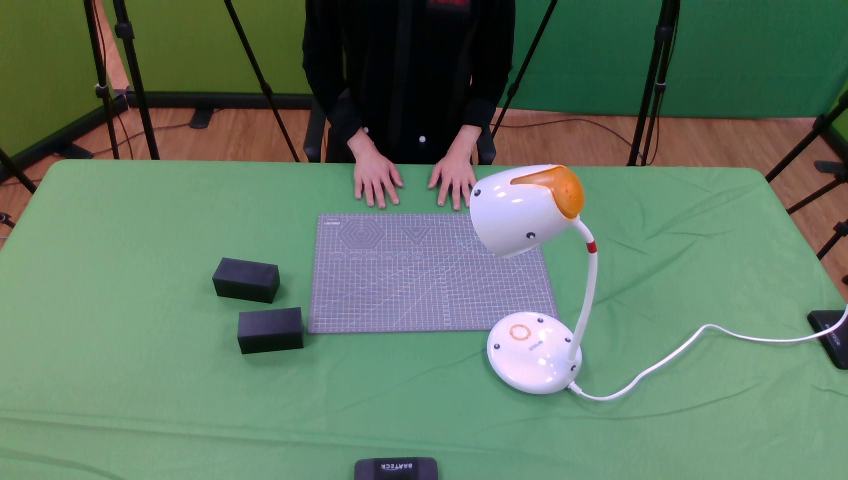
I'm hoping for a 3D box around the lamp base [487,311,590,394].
[{"bbox_3d":[0.199,0.142,0.962,0.178,0.181,0.160,38,56,24],"label":"lamp base"}]

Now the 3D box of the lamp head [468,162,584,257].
[{"bbox_3d":[0.135,-0.043,0.747,0.122,0.113,0.112,-15,30,42],"label":"lamp head"}]
